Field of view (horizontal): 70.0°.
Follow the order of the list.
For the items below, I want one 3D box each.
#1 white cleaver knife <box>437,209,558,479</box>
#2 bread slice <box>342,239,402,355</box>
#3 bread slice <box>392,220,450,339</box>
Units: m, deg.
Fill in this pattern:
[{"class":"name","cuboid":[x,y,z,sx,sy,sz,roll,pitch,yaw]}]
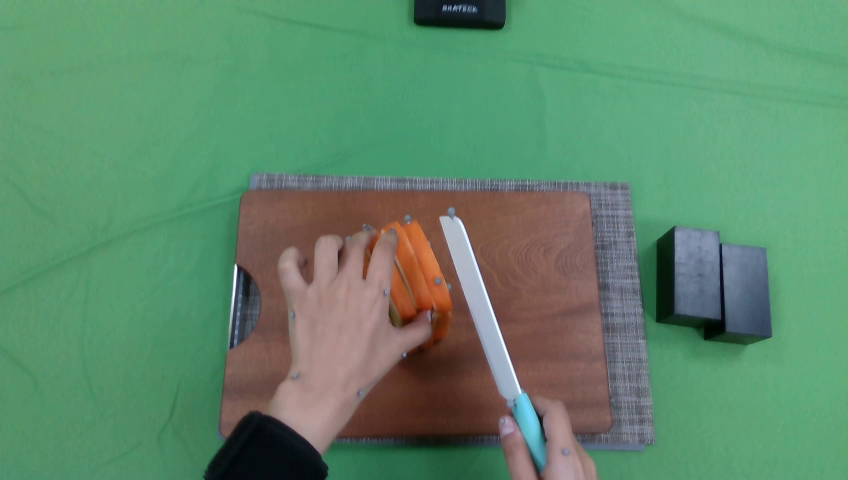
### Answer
[{"class":"white cleaver knife","cuboid":[0.065,0.109,0.495,0.021,0.065,0.286,-19,93,-10]},{"class":"bread slice","cuboid":[-0.052,0.055,0.592,0.019,0.132,0.104,-23,72,-5]},{"class":"bread slice","cuboid":[-0.004,0.040,0.597,0.018,0.135,0.106,-22,77,-12]}]
